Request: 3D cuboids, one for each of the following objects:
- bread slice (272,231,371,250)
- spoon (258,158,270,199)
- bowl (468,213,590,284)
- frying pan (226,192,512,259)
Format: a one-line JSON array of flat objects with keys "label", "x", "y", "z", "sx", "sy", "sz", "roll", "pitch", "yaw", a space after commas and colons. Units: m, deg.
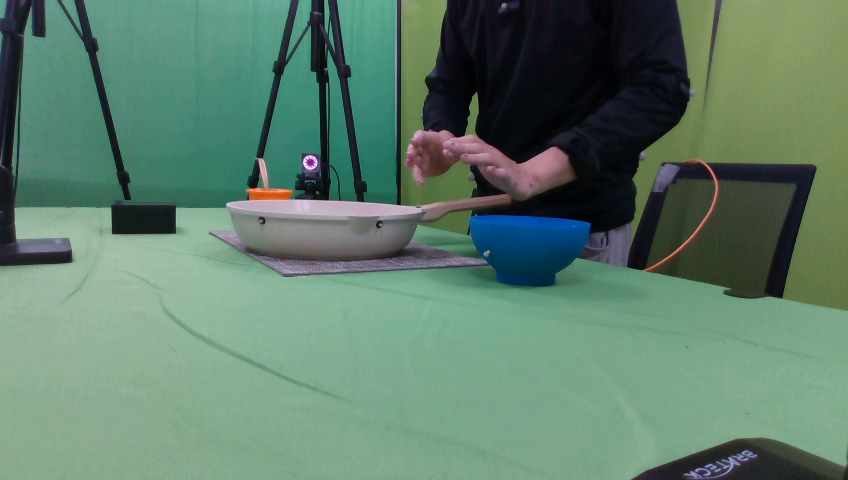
[{"label": "bread slice", "x": -0.148, "y": 0.001, "z": 0.929, "sx": 0.133, "sy": 0.018, "sz": 0.107, "roll": 5, "pitch": 8, "yaw": 38}, {"label": "spoon", "x": -0.332, "y": -0.107, "z": 1.269, "sx": 0.042, "sy": 0.021, "sz": 0.193, "roll": 1, "pitch": 52, "yaw": -24}, {"label": "bowl", "x": 0.128, "y": 0.010, "z": 0.755, "sx": 0.151, "sy": 0.077, "sz": 0.151, "roll": 2, "pitch": 7, "yaw": 0}, {"label": "frying pan", "x": -0.058, "y": -0.041, "z": 0.975, "sx": 0.490, "sy": 0.102, "sz": 0.305, "roll": -11, "pitch": 13, "yaw": -26}]
